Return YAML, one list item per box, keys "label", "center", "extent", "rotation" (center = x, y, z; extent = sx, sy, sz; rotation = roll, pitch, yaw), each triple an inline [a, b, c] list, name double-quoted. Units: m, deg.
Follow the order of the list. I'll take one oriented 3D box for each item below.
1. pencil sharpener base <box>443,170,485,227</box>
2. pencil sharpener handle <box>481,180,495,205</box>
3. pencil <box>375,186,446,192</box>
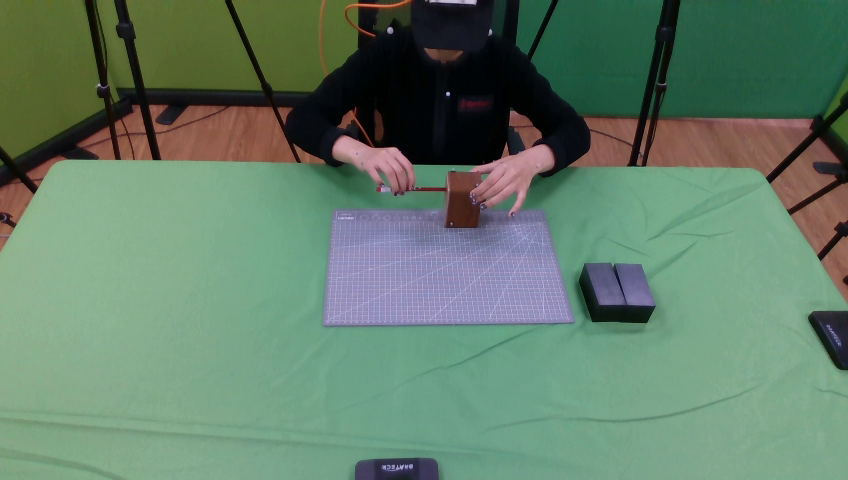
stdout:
- label: "pencil sharpener base"
  center: [0.080, -0.082, 1.220]
  extent: [0.077, 0.107, 0.061]
  rotation: [0, 46, -4]
- label: "pencil sharpener handle"
  center: [0.131, -0.093, 1.217]
  extent: [0.031, 0.068, 0.036]
  rotation: [0, 57, -4]
- label: "pencil"
  center: [0.001, -0.100, 1.195]
  extent: [0.194, 0.012, 0.012]
  rotation: [0, 46, -4]
